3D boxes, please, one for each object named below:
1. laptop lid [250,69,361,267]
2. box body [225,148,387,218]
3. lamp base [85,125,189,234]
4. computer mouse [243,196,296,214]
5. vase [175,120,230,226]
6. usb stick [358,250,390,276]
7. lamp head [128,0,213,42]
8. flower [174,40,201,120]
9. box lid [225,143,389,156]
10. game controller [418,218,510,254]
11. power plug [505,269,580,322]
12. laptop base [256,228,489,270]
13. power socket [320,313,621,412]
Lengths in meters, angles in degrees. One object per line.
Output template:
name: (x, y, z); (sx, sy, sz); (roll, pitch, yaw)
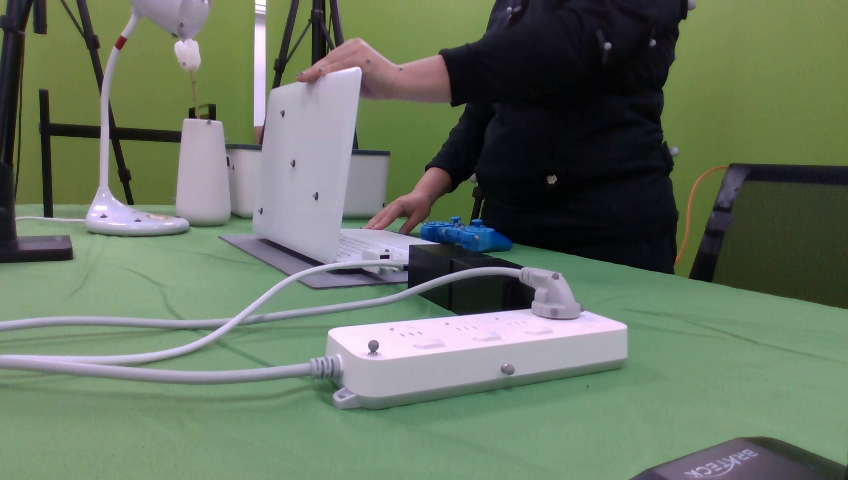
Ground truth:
laptop lid: (-0.180, -0.105, 0.841); (0.013, 0.241, 0.355); (6, 6, -32)
box body: (-0.299, -0.143, 1.474); (0.366, 0.160, 0.253); (-1, 9, -30)
lamp base: (-0.498, -0.105, 1.026); (0.179, 0.180, 0.160); (1, 7, 3)
computer mouse: (-0.362, -0.082, 1.416); (0.117, 0.041, 0.063); (-3, 10, 5)
vase: (-0.425, -0.128, 1.158); (0.098, 0.200, 0.098); (2, 9, 0)
usb stick: (-0.062, 0.026, 0.709); (0.021, 0.027, 0.059); (-2, 3, -29)
lamp head: (-0.423, -0.394, 0.980); (0.123, 0.112, 0.112); (20, 7, -3)
flower: (-0.430, -0.211, 1.165); (0.044, 0.361, 0.038); (-10, -5, -23)
box lid: (-0.297, -0.217, 1.463); (0.373, 0.015, 0.262); (-2, 8, -29)
game controller: (0.062, -0.008, 1.027); (0.154, 0.051, 0.097); (9, 13, 43)
power plug: (0.092, 0.051, 0.470); (0.035, 0.052, 0.072); (-1, 7, -15)
laptop base: (-0.097, 0.011, 0.912); (0.237, 0.023, 0.352); (2, 6, -32)
power socket: (0.038, 0.075, 0.409); (0.228, 0.032, 0.072); (-2, 8, -29)
